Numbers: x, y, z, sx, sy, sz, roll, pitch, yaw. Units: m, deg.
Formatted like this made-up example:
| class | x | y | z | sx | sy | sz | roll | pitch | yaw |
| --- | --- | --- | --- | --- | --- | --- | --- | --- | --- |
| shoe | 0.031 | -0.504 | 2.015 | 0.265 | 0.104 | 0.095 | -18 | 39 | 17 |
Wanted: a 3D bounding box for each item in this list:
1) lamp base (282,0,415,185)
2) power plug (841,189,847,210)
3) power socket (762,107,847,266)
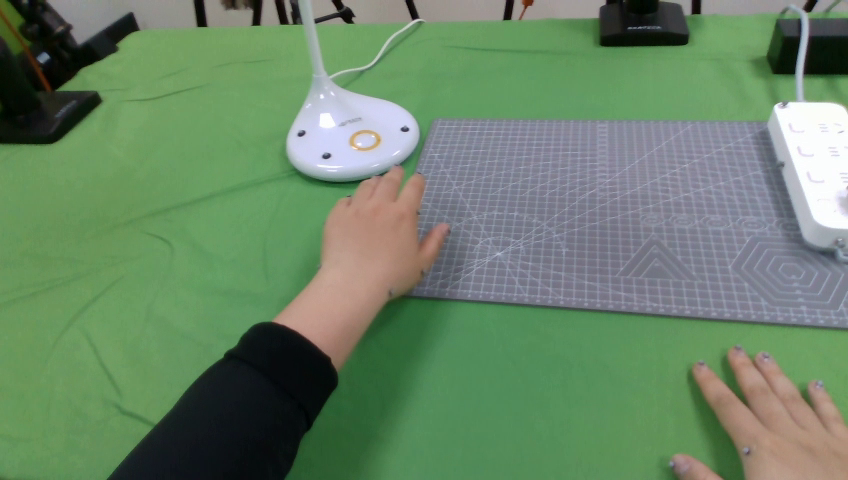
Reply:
| class | x | y | z | sx | sy | sz | roll | pitch | yaw |
| --- | --- | --- | --- | --- | --- | --- | --- | --- | --- |
| lamp base | -0.106 | -0.179 | 0.683 | 0.160 | 0.182 | 0.177 | -32 | 45 | -25 |
| power plug | 0.396 | -0.030 | 0.513 | 0.072 | 0.053 | 0.035 | 13 | 45 | 20 |
| power socket | 0.385 | -0.064 | 0.587 | 0.072 | 0.033 | 0.225 | 5 | 43 | 12 |
